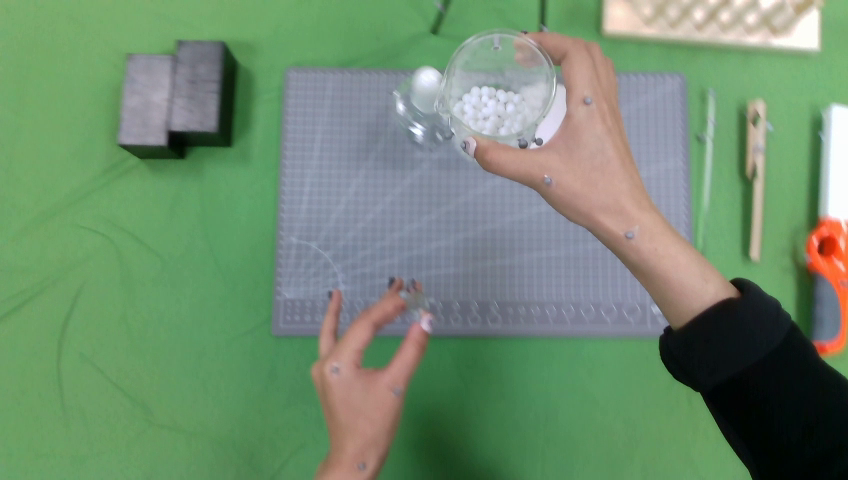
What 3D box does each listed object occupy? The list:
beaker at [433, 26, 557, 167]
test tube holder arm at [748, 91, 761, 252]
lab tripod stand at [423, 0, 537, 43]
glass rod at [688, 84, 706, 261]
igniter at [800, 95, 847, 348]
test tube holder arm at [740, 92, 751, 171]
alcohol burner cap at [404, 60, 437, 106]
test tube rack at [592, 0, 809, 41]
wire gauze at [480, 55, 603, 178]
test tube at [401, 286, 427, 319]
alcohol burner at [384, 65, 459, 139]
[{"bbox_3d":[0.048,-0.096,0.444,0.084,0.100,0.074,-19,83,1],"label":"beaker"},{"bbox_3d":[0.360,-0.075,0.661,0.013,0.015,0.178,-5,80,36],"label":"test tube holder arm"},{"bbox_3d":[0.068,-0.277,0.628,0.148,0.132,0.148,0,84,0],"label":"lab tripod stand"},{"bbox_3d":[0.301,-0.075,0.667,0.008,0.008,0.199,6,85,0],"label":"glass rod"},{"bbox_3d":[0.433,-0.021,0.652,0.057,0.025,0.275,8,82,-10],"label":"igniter"},{"bbox_3d":[0.356,-0.120,0.670,0.010,0.015,0.087,-3,81,37],"label":"test tube holder arm"},{"bbox_3d":[-0.003,-0.154,0.581,0.034,0.048,0.033,0,76,-1],"label":"alcohol burner cap"},{"bbox_3d":[0.314,-0.273,0.654,0.242,0.085,0.066,4,82,0],"label":"test tube rack"},{"bbox_3d":[0.130,-0.140,0.671,0.125,0.011,0.121,11,83,0],"label":"wire gauze"},{"bbox_3d":[-0.007,0.053,0.493,0.017,0.151,0.017,0,80,1],"label":"test tube"},{"bbox_3d":[-0.003,-0.147,0.617,0.078,0.119,0.077,0,82,2],"label":"alcohol burner"}]
